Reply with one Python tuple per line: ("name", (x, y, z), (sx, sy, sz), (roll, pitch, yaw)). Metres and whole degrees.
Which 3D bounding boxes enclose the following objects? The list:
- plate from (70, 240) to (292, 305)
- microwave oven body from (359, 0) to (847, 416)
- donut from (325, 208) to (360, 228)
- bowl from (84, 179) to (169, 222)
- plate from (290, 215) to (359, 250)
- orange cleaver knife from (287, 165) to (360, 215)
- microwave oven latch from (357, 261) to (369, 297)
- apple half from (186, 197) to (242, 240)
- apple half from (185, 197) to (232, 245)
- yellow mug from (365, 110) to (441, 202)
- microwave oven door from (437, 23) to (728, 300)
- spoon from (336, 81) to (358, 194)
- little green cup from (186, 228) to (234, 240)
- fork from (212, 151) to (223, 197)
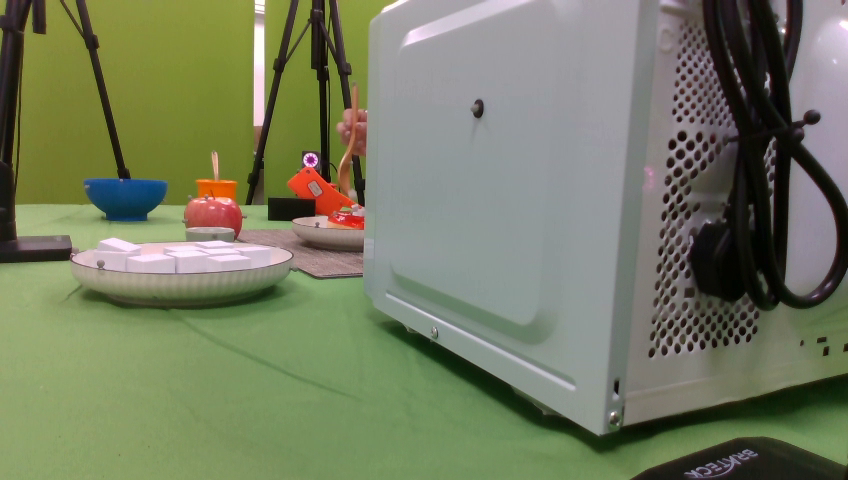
("plate", (-0.242, 0.031, 0.618), (0.208, 0.039, 0.207), (2, 8, 0))
("microwave oven body", (0.211, -0.047, 0.474), (0.444, 0.260, 0.324), (-1, 7, -28))
("donut", (-0.110, -0.025, 0.974), (0.099, 0.048, 0.099), (4, 8, 0))
("bowl", (-0.584, -0.078, 1.194), (0.151, 0.077, 0.151), (3, 8, 0))
("plate", (-0.110, -0.013, 0.973), (0.209, 0.038, 0.209), (2, 7, 0))
("orange cleaver knife", (-0.211, -0.093, 1.382), (0.212, 0.077, 0.012), (33, 1, -15))
("microwave oven latch", (-0.019, 0.033, 0.531), (0.079, 0.029, 0.030), (-1, 7, -27))
("apple half", (-0.306, -0.026, 0.904), (0.053, 0.074, 0.081), (14, 9, 37))
("apple half", (-0.337, -0.031, 0.928), (0.032, 0.081, 0.082), (13, 13, 37))
("yellow mug", (-0.028, -0.129, 0.901), (0.063, 0.131, 0.100), (27, 32, 36))
("microwave oven door", (0.181, -0.072, 0.621), (0.358, 0.243, 0.039), (-2, 8, -29))
("spoon", (-0.121, -0.169, 0.990), (0.021, 0.193, 0.042), (4, -11, 19))
("little green cup", (-0.284, 0.005, 0.805), (0.061, 0.038, 0.061), (2, 8, 0))
("fork", (-0.494, -0.143, 1.442), (0.028, 0.018, 0.206), (-2, 52, -20))
